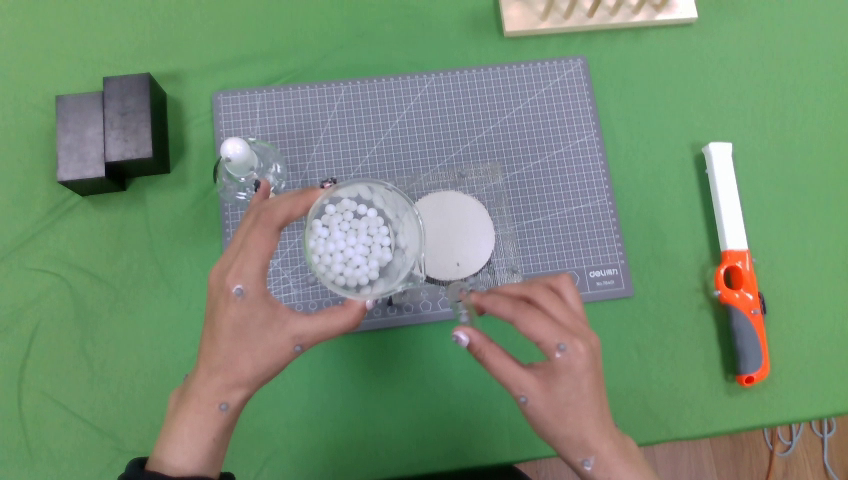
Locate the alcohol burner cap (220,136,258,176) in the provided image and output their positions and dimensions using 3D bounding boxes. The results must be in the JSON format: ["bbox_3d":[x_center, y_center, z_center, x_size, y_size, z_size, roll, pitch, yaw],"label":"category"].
[{"bbox_3d":[-0.186,-0.086,0.602,0.034,0.048,0.033,1,79,-6],"label":"alcohol burner cap"}]

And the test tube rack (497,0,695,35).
[{"bbox_3d":[0.214,-0.306,0.722,0.242,0.085,0.066,-6,78,-3],"label":"test tube rack"}]

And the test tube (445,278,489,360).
[{"bbox_3d":[0.034,0.063,0.451,0.017,0.151,0.017,-5,63,10],"label":"test tube"}]

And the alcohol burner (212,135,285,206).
[{"bbox_3d":[-0.188,-0.078,0.637,0.078,0.119,0.077,0,75,-1],"label":"alcohol burner"}]

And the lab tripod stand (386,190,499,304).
[{"bbox_3d":[0.015,0.007,0.618,0.148,0.132,0.147,0,77,0],"label":"lab tripod stand"}]

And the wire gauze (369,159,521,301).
[{"bbox_3d":[0.019,-0.011,0.553,0.125,0.011,0.121,-8,77,-5],"label":"wire gauze"}]

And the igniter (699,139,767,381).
[{"bbox_3d":[0.349,0.018,0.687,0.057,0.025,0.275,-1,78,-13],"label":"igniter"}]

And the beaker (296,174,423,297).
[{"bbox_3d":[-0.045,0.001,0.410,0.084,0.100,0.074,34,82,-11],"label":"beaker"}]
